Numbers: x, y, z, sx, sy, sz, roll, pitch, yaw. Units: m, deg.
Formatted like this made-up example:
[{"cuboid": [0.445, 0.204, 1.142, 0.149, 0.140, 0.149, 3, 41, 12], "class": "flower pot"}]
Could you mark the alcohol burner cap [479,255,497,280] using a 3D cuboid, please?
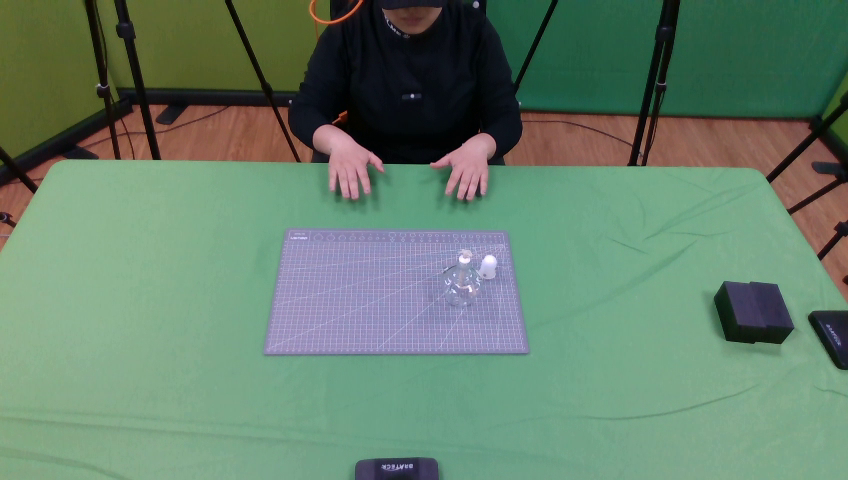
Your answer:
[{"cuboid": [0.122, 0.050, 1.143, 0.034, 0.048, 0.033, 2, 45, -2], "class": "alcohol burner cap"}]

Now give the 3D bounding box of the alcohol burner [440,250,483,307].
[{"cuboid": [0.068, 0.063, 1.076, 0.078, 0.120, 0.077, 1, 45, -1], "class": "alcohol burner"}]
